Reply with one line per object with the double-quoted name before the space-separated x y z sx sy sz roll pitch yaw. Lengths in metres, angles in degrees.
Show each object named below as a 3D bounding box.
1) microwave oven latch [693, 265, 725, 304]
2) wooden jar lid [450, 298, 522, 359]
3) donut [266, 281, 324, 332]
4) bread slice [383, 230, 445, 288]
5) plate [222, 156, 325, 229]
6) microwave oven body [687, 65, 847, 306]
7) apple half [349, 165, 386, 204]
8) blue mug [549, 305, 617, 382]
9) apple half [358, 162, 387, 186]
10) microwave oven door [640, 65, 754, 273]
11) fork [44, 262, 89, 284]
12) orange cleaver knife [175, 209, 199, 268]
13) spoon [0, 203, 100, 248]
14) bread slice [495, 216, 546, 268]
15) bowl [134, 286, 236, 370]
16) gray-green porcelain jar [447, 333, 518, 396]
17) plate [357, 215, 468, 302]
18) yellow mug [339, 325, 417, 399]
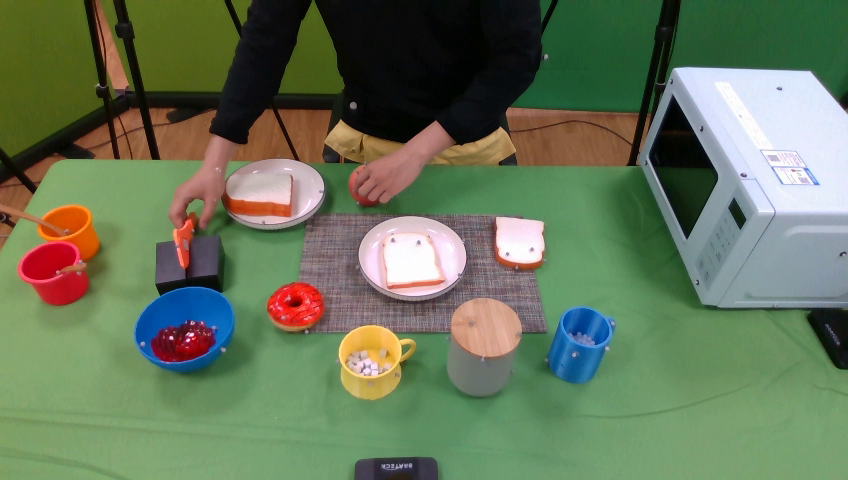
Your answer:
"microwave oven latch" 0.523 0.081 1.115 0.030 0.029 0.078 2 46 -1
"wooden jar lid" 0.093 0.135 0.914 0.108 0.021 0.107 3 48 -3
"donut" -0.222 0.115 1.049 0.099 0.048 0.098 2 45 -2
"bread slice" -0.028 0.035 1.145 0.107 0.018 0.133 -7 48 -11
"plate" -0.307 -0.095 1.251 0.209 0.038 0.208 2 47 -2
"microwave oven body" 0.669 -0.111 1.176 0.326 0.261 0.439 0 46 -3
"apple half" -0.124 -0.108 1.254 0.080 0.075 0.053 29 58 16
"blue mug" 0.269 0.166 0.998 0.116 0.106 0.082 -19 51 -21
"apple half" -0.105 -0.133 1.276 0.081 0.082 0.032 26 55 20
"microwave oven door" 0.522 -0.147 1.193 0.039 0.245 0.353 0 47 -3
"fork" -0.598 0.054 1.014 0.207 0.019 0.028 -15 29 45
"orange cleaver knife" -0.435 -0.006 1.127 0.012 0.077 0.210 -11 19 -9
"spoon" -0.683 -0.031 1.088 0.195 0.021 0.041 33 33 -38
"bread slice" 0.194 0.002 1.205 0.105 0.019 0.131 5 45 2
"bowl" -0.377 0.156 0.981 0.151 0.077 0.150 2 46 -2
"gray-green porcelain jar" 0.091 0.178 0.960 0.106 0.127 0.105 2 46 -2
"plate" -0.022 0.037 1.141 0.208 0.039 0.206 2 46 -2
"yellow mug" -0.072 0.190 0.978 0.131 0.064 0.099 -17 50 -20
